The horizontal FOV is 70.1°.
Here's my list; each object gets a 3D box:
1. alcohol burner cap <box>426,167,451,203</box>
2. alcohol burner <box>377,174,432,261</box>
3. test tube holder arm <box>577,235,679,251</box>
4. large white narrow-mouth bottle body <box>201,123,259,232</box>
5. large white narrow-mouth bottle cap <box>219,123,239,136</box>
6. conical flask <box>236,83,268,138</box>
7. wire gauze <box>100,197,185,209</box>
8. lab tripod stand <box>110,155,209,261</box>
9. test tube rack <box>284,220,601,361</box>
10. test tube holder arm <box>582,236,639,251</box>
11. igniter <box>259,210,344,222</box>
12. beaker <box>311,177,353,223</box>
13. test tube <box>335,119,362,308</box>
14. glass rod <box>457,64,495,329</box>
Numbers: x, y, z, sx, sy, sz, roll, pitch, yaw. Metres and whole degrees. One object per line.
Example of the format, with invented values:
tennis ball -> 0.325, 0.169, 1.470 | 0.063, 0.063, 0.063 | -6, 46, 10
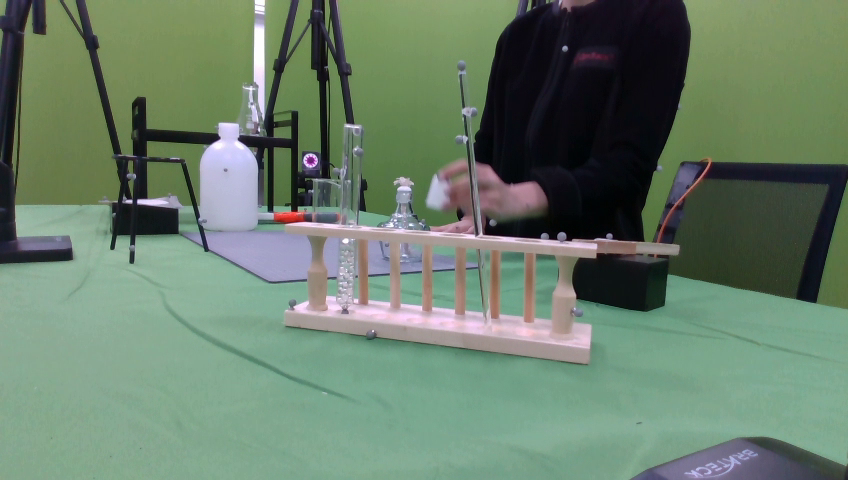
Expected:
alcohol burner cap -> 0.021, -0.074, 0.806 | 0.034, 0.048, 0.034 | 7, 9, -1
alcohol burner -> -0.027, -0.031, 0.838 | 0.078, 0.119, 0.078 | 0, 6, 0
test tube holder arm -> 0.227, 0.004, 0.661 | 0.179, 0.015, 0.013 | 1, 13, -39
large white narrow-mouth bottle body -> -0.358, -0.116, 1.116 | 0.102, 0.194, 0.102 | 2, 8, 0
large white narrow-mouth bottle cap -> -0.356, -0.201, 1.104 | 0.038, 0.024, 0.037 | 2, 8, 0
conical flask -> -0.400, -0.298, 1.396 | 0.075, 0.122, 0.075 | 2, 8, 0
wire gauze -> -0.469, -0.062, 1.008 | 0.126, 0.011, 0.121 | -2, 8, -25
lab tripod stand -> -0.361, -0.046, 0.806 | 0.148, 0.131, 0.148 | 2, 5, 0
test tube rack -> 0.013, 0.032, 0.482 | 0.242, 0.085, 0.067 | 4, 7, 16
test tube holder arm -> 0.194, 0.004, 0.629 | 0.088, 0.015, 0.010 | 2, 13, -38
igniter -> -0.303, -0.049, 1.258 | 0.278, 0.025, 0.057 | -2, -2, -28
beaker -> -0.167, -0.064, 1.106 | 0.074, 0.100, 0.083 | -2, 9, -26
test tube -> -0.060, -0.019, 0.475 | 0.017, 0.150, 0.017 | 4, 11, 0
glass rod -> 0.039, -0.029, 0.449 | 0.008, 0.199, 0.008 | -7, 9, 1
